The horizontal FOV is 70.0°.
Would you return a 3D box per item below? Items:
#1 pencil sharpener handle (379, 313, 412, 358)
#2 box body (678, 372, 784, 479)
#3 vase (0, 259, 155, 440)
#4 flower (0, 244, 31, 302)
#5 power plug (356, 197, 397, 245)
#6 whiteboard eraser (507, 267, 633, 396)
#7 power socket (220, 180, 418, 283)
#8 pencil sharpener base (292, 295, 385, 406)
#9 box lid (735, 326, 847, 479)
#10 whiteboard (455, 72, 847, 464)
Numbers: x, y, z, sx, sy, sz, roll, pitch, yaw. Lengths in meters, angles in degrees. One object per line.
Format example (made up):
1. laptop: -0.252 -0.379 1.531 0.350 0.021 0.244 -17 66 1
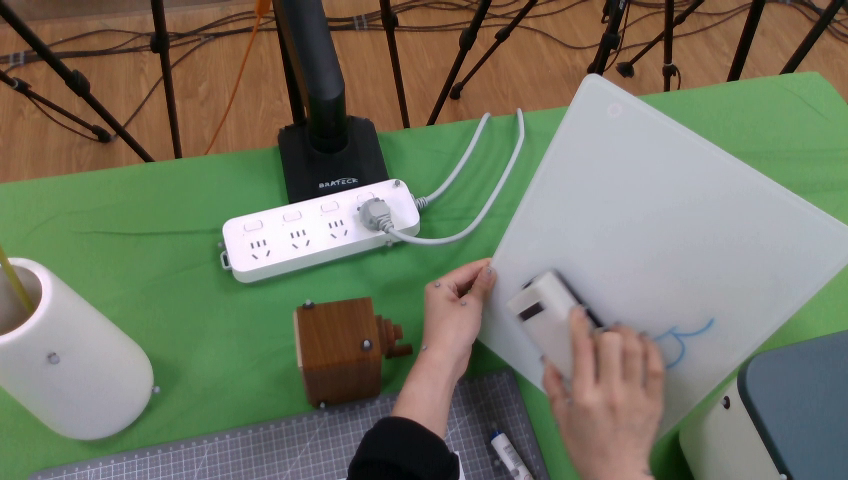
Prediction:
1. pencil sharpener handle: -0.025 0.090 0.559 0.031 0.068 0.035 -8 59 -10
2. box body: 0.401 0.260 0.473 0.255 0.161 0.360 -11 60 -12
3. vase: -0.295 0.093 0.492 0.098 0.201 0.097 2 58 -2
4. flower: -0.288 0.034 0.432 0.038 0.365 0.043 -21 44 -25
5. power plug: -0.053 -0.014 0.651 0.035 0.053 0.072 -7 60 -9
6. whiteboard eraser: 0.128 0.079 0.530 0.112 0.055 0.042 51 44 4
7. power socket: -0.112 -0.012 0.672 0.227 0.033 0.071 -15 61 -15
8. pencil sharpener base: -0.076 0.104 0.560 0.077 0.108 0.061 -8 58 -10
9. box lid: 0.406 0.218 0.411 0.264 0.015 0.367 -11 59 -12
10. whiteboard: 0.198 0.019 0.557 0.216 0.307 0.144 38 44 18
